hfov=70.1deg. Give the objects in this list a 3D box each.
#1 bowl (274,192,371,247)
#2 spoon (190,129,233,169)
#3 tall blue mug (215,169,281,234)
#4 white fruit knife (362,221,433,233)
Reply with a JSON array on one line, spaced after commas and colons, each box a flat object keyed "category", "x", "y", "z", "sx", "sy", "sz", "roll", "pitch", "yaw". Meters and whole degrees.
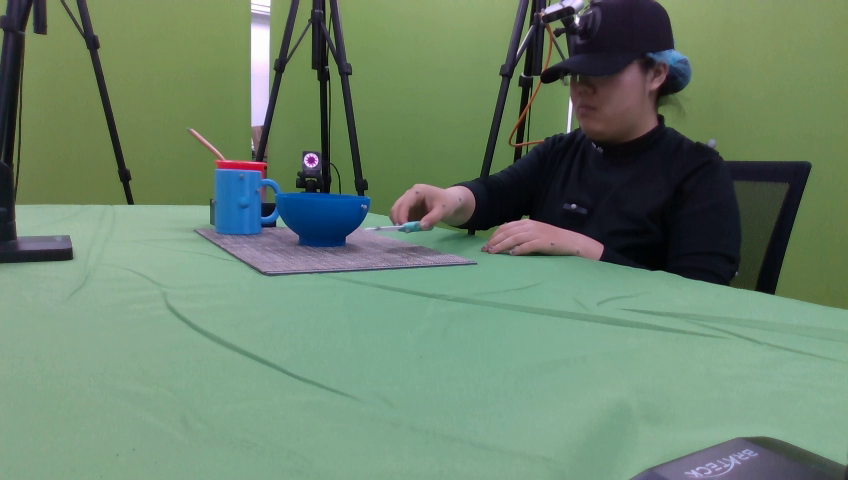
[{"category": "bowl", "x": -0.161, "y": -0.033, "z": 0.958, "sx": 0.151, "sy": 0.077, "sz": 0.151, "roll": 3, "pitch": 8, "yaw": 0}, {"category": "spoon", "x": -0.388, "y": -0.150, "z": 1.174, "sx": 0.193, "sy": 0.021, "sz": 0.042, "roll": 49, "pitch": 19, "yaw": 7}, {"category": "tall blue mug", "x": -0.313, "y": -0.069, "z": 1.061, "sx": 0.077, "sy": 0.108, "sz": 0.108, "roll": 6, "pitch": 8, "yaw": 31}, {"category": "white fruit knife", "x": -0.034, "y": -0.016, "z": 0.878, "sx": 0.027, "sy": 0.016, "sz": 0.208, "roll": -21, "pitch": -6, "yaw": 24}]
